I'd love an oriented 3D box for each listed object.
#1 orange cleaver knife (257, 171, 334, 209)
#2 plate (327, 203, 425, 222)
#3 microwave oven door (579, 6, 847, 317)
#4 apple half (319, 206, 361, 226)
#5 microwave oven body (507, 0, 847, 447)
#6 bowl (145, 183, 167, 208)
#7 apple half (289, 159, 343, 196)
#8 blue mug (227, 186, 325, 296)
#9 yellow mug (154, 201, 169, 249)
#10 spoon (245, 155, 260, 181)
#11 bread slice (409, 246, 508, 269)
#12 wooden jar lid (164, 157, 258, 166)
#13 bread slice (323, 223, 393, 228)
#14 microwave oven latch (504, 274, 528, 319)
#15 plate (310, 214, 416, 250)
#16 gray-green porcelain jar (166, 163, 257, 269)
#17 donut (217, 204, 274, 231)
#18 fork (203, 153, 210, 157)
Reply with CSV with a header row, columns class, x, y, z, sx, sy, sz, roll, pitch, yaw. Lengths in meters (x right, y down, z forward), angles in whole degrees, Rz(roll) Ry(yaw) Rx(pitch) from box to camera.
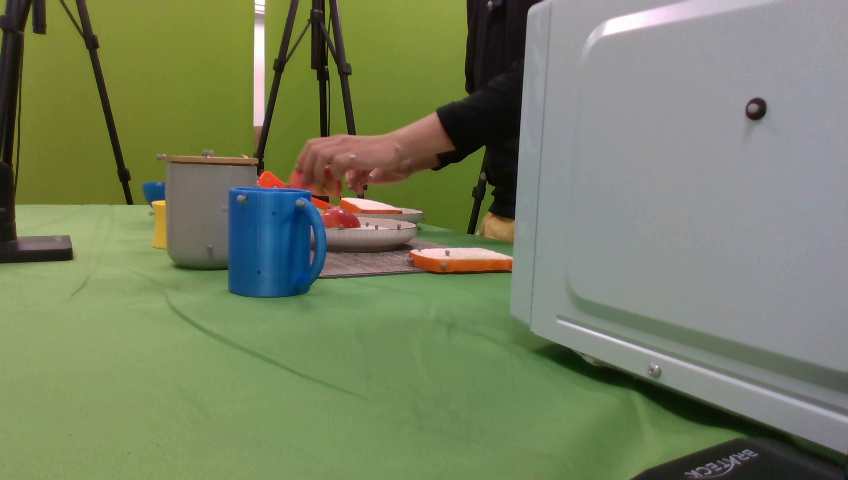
class,x,y,z,sx,sy,sz,roll,pitch,yaw
orange cleaver knife,-0.283,-0.087,1.343,0.212,0.077,0.012,24,-16,-41
plate,-0.102,-0.053,1.299,0.209,0.038,0.209,2,8,0
microwave oven door,0.294,-0.067,0.570,0.358,0.243,0.039,-3,9,-31
apple half,-0.142,-0.041,1.001,0.081,0.033,0.081,0,7,0
microwave oven body,0.331,-0.042,0.425,0.444,0.260,0.324,-2,8,-31
bowl,-0.459,-0.069,1.175,0.151,0.077,0.151,3,7,0
apple half,-0.161,-0.096,0.919,0.081,0.053,0.074,5,8,-24
blue mug,-0.147,0.000,0.618,0.116,0.106,0.083,7,9,32
yellow mug,-0.337,-0.022,0.899,0.130,0.064,0.100,8,9,34
spoon,-0.421,-0.150,1.540,0.042,0.021,0.193,-5,55,-37
bread slice,0.048,0.022,0.816,0.132,0.019,0.104,1,6,-24
wooden jar lid,-0.261,-0.093,0.746,0.108,0.020,0.108,0,9,0
bread slice,-0.116,-0.014,0.974,0.135,0.018,0.106,-5,10,-42
microwave oven latch,0.100,0.041,0.470,0.079,0.029,0.030,-1,7,-27
plate,-0.117,-0.014,0.967,0.208,0.039,0.207,2,8,0
gray-green porcelain jar,-0.263,-0.031,0.754,0.106,0.126,0.106,2,7,0
donut,-0.318,-0.038,1.080,0.099,0.048,0.099,3,7,0
fork,-0.480,-0.134,1.411,0.028,0.018,0.207,1,-35,0
